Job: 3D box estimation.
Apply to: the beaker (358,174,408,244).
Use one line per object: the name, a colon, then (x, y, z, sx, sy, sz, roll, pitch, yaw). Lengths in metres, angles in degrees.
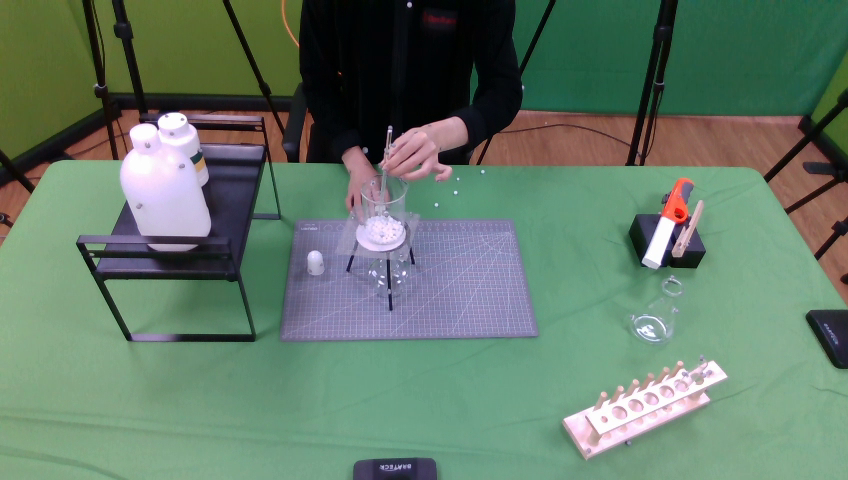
beaker: (-0.066, -0.050, 1.001, 0.084, 0.101, 0.073, -18, 49, -20)

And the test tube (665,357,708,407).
test tube: (0.387, 0.215, 0.905, 0.017, 0.151, 0.017, 1, 52, -1)

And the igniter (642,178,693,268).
igniter: (0.488, -0.042, 1.205, 0.057, 0.025, 0.276, 30, 51, 11)

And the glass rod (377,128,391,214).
glass rod: (-0.063, -0.103, 0.952, 0.008, 0.200, 0.008, 5, 54, -6)

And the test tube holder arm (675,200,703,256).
test tube holder arm: (0.523, -0.025, 1.190, 0.013, 0.015, 0.178, 1, 36, 41)

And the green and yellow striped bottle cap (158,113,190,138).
green and yellow striped bottle cap: (-0.393, -0.180, 0.951, 0.045, 0.020, 0.045, 2, 44, -2)

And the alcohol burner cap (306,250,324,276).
alcohol burner cap: (-0.204, 0.041, 1.125, 0.034, 0.048, 0.033, 2, 45, -2)

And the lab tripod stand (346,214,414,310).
lab tripod stand: (-0.075, 0.030, 1.082, 0.148, 0.132, 0.147, 1, 47, -1)

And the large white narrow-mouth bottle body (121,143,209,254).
large white narrow-mouth bottle body: (-0.378, -0.077, 0.875, 0.102, 0.195, 0.101, 3, 46, -3)

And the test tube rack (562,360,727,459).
test tube rack: (0.341, 0.247, 0.940, 0.243, 0.085, 0.066, -16, 49, -19)

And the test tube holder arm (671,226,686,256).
test tube holder arm: (0.494, 0.001, 1.167, 0.010, 0.015, 0.087, 1, 36, 42)

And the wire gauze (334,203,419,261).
wire gauze: (-0.079, -0.013, 1.031, 0.121, 0.011, 0.124, 8, 48, 7)

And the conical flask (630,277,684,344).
conical flask: (0.408, 0.117, 1.045, 0.075, 0.122, 0.075, 2, 46, -2)

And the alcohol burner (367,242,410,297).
alcohol burner: (-0.064, 0.047, 1.080, 0.078, 0.120, 0.077, 1, 47, -1)

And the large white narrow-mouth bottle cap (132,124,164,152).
large white narrow-mouth bottle cap: (-0.370, -0.138, 0.812, 0.038, 0.024, 0.037, 3, 46, -3)

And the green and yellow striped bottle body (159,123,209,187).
green and yellow striped bottle body: (-0.395, -0.145, 0.989, 0.063, 0.120, 0.063, 2, 46, -2)
